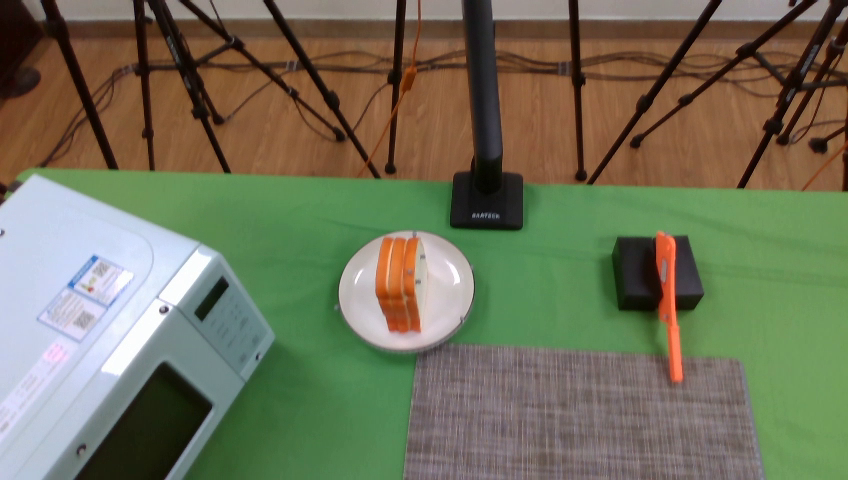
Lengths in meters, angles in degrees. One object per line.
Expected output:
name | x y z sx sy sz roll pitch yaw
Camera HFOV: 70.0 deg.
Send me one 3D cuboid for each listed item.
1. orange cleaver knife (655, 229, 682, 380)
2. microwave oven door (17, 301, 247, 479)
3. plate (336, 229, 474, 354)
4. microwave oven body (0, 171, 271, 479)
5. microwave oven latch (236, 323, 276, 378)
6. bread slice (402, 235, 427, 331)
orange cleaver knife | 0.340 0.087 0.851 0.012 0.077 0.211 -2 87 3
microwave oven door | -0.348 0.266 0.676 0.039 0.246 0.354 20 61 17
plate | -0.027 0.079 0.915 0.207 0.039 0.205 -2 57 3
microwave oven body | -0.460 0.188 0.741 0.324 0.262 0.439 21 62 16
microwave oven latch | -0.243 0.154 0.862 0.030 0.030 0.079 21 62 16
bread slice | -0.012 0.058 0.861 0.018 0.135 0.106 -1 61 7
